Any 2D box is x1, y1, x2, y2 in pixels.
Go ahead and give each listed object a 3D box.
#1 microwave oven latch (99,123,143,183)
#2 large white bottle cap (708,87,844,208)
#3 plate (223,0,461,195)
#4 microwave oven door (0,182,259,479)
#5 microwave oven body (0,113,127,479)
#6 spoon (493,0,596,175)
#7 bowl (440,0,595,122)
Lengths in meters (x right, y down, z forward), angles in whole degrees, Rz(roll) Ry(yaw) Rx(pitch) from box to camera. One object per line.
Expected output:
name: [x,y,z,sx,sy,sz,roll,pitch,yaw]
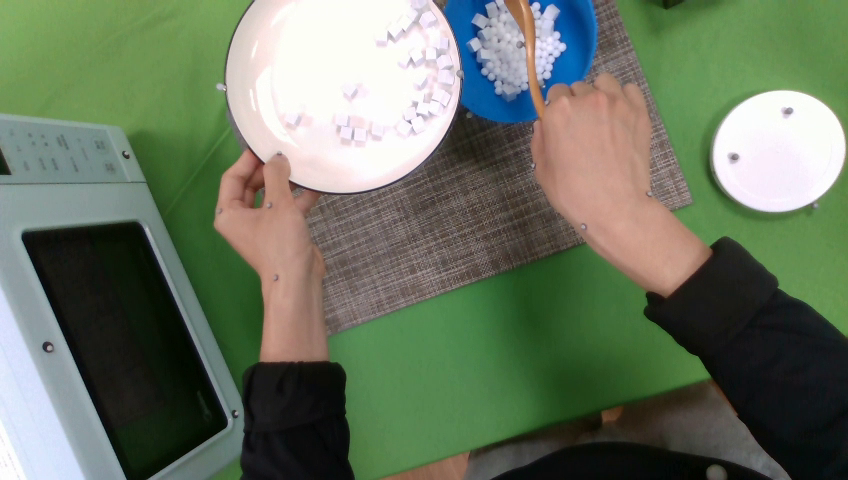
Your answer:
microwave oven latch: [-0.381,-0.104,0.749,0.030,0.029,0.079,-23,91,17]
large white bottle cap: [0.334,-0.087,0.577,0.114,0.018,0.115,2,97,15]
plate: [-0.071,-0.141,0.544,0.209,0.038,0.209,0,88,1]
microwave oven door: [-0.323,0.107,0.653,0.039,0.244,0.355,-24,89,17]
microwave oven body: [-0.466,0.125,0.701,0.326,0.260,0.441,-24,90,17]
spoon: [0.100,-0.138,0.517,0.021,0.042,0.192,-18,75,-6]
bowl: [0.092,-0.190,0.598,0.151,0.077,0.151,2,98,16]
